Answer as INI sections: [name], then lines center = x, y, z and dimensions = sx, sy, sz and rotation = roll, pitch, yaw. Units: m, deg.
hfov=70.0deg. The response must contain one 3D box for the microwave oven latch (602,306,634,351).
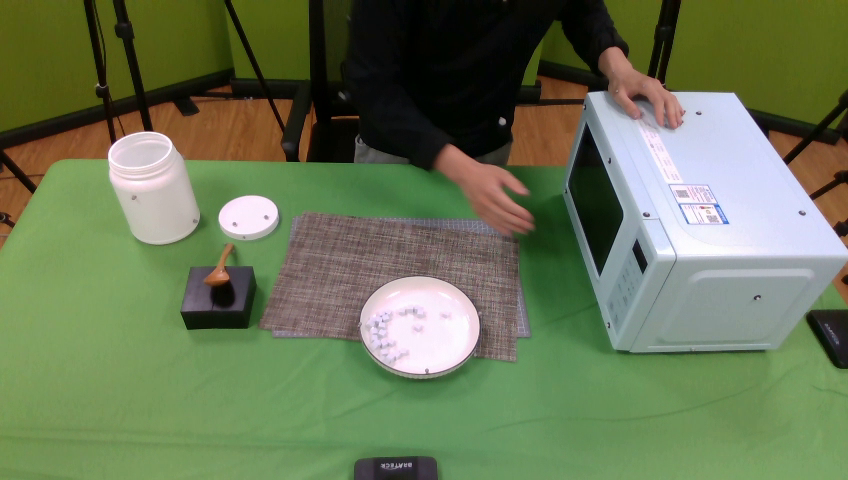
[microwave oven latch]
center = 0.332, 0.153, 1.044
dimensions = 0.030, 0.029, 0.078
rotation = 0, 45, -4

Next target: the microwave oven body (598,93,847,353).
[microwave oven body]
center = 0.475, -0.042, 1.109
dimensions = 0.326, 0.261, 0.438
rotation = -1, 45, -4

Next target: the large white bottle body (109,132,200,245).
[large white bottle body]
center = -0.506, -0.097, 1.141
dimensions = 0.131, 0.185, 0.130
rotation = 2, 46, -2

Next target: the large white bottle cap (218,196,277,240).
[large white bottle cap]
center = -0.355, -0.045, 1.220
dimensions = 0.115, 0.018, 0.114
rotation = 2, 45, -2

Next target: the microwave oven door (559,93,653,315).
[microwave oven door]
center = 0.327, -0.074, 1.123
dimensions = 0.039, 0.245, 0.353
rotation = -1, 46, -5

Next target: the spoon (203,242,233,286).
[spoon]
center = -0.360, 0.039, 1.087
dimensions = 0.041, 0.022, 0.192
rotation = -5, 24, -7

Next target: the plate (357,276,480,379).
[plate]
center = -0.010, 0.151, 1.038
dimensions = 0.209, 0.038, 0.208
rotation = 2, 47, -2

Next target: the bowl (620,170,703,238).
[bowl]
center = 0.445, -0.057, 1.166
dimensions = 0.151, 0.077, 0.150
rotation = 1, 46, -1
